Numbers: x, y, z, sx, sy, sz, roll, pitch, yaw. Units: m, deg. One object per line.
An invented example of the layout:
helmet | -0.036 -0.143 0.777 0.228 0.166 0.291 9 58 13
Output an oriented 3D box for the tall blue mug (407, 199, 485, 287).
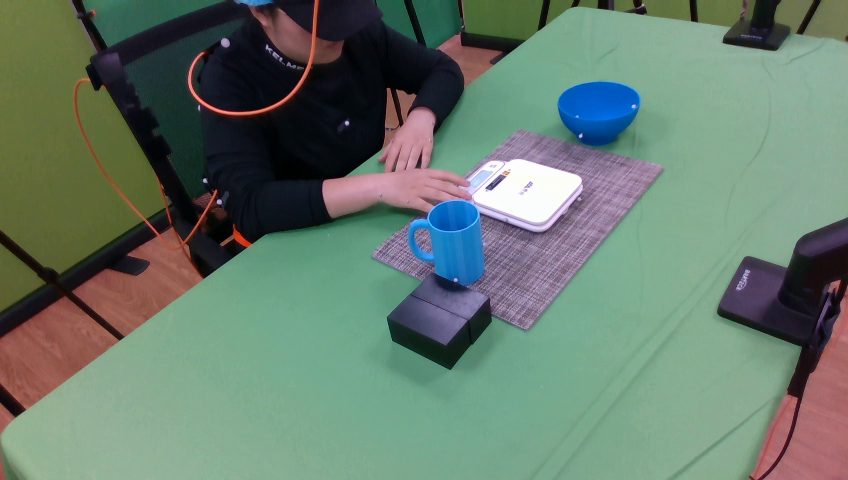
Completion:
tall blue mug | 0.034 0.008 0.892 0.107 0.108 0.077 -13 41 -5

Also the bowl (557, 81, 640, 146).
bowl | 0.330 -0.233 1.152 0.151 0.077 0.150 -5 40 5

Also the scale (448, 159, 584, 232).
scale | 0.156 -0.085 1.040 0.199 0.032 0.149 22 49 32
